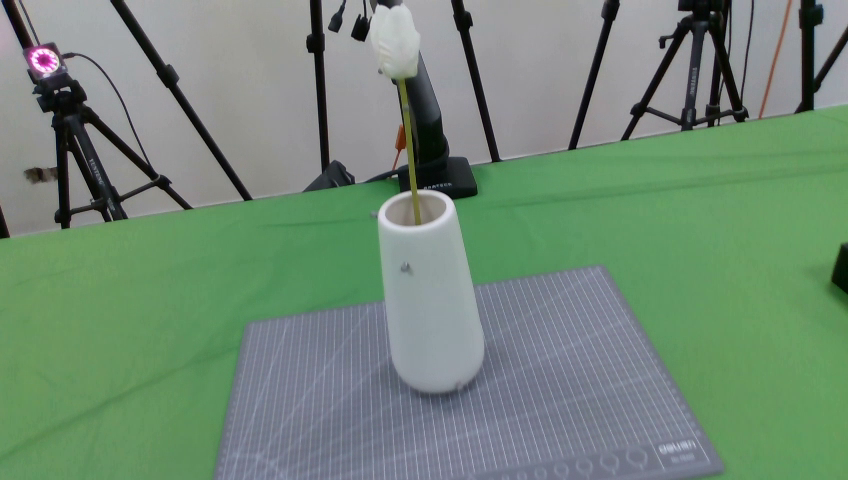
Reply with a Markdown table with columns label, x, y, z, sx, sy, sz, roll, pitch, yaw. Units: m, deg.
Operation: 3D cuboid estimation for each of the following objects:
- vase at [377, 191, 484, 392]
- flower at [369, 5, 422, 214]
| label | x | y | z | sx | sy | sz | roll | pitch | yaw |
| --- | --- | --- | --- | --- | --- | --- | --- | --- | --- |
| vase | 0.004 | 0.053 | 0.592 | 0.098 | 0.202 | 0.097 | -6 | 33 | 4 |
| flower | -0.005 | -0.023 | 0.559 | 0.038 | 0.363 | 0.043 | -18 | 18 | -33 |
